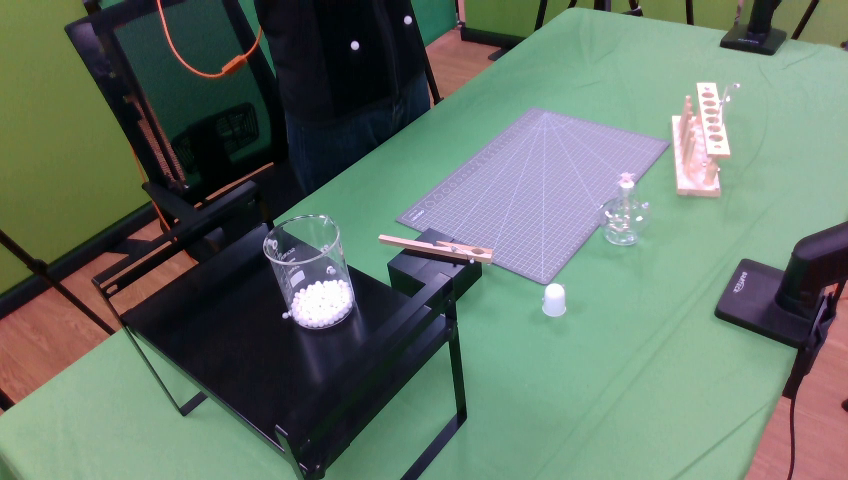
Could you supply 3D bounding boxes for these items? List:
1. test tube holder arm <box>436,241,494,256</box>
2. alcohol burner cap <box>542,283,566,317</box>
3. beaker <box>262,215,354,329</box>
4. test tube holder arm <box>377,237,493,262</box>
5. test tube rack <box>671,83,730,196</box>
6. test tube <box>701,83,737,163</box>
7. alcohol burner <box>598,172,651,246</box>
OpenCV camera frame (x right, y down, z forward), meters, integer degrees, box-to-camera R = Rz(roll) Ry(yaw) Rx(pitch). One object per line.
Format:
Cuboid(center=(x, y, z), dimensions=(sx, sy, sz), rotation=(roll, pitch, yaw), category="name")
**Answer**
Cuboid(center=(0.058, 0.015, 0.878), dimensions=(0.087, 0.015, 0.010), rotation=(8, 45, 19), category="test tube holder arm")
Cuboid(center=(0.181, 0.081, 0.840), dimensions=(0.034, 0.048, 0.033), rotation=(-3, 40, 3), category="alcohol burner cap")
Cuboid(center=(-0.112, 0.034, 0.616), dimensions=(0.073, 0.101, 0.084), rotation=(13, 44, 23), category="beaker")
Cuboid(center=(0.014, 0.013, 0.888), dimensions=(0.177, 0.015, 0.013), rotation=(6, 45, 17), category="test tube holder arm")
Cuboid(center=(0.482, -0.184, 1.067), dimensions=(0.066, 0.085, 0.242), rotation=(5, 42, 15), category="test tube rack")
Cuboid(center=(0.485, -0.190, 0.997), dimensions=(0.017, 0.151, 0.017), rotation=(-1, 44, 2), category="test tube")
Cuboid(center=(0.306, -0.051, 0.918), dimensions=(0.078, 0.119, 0.077), rotation=(-6, 41, 5), category="alcohol burner")
